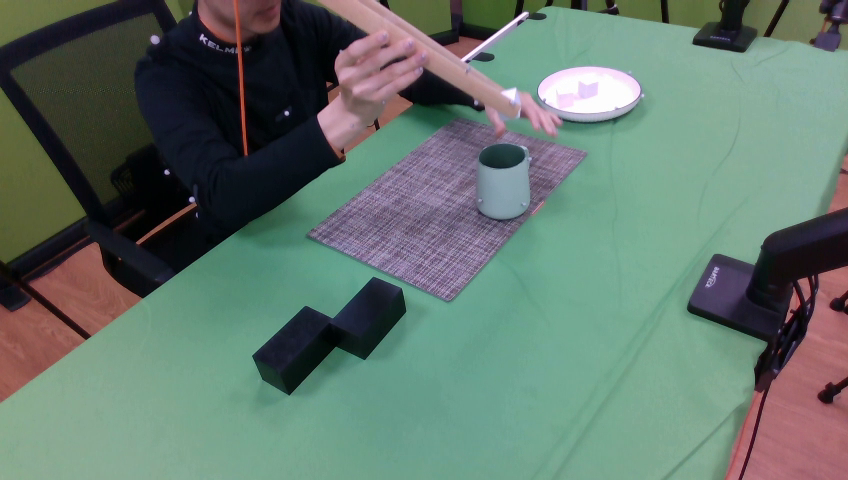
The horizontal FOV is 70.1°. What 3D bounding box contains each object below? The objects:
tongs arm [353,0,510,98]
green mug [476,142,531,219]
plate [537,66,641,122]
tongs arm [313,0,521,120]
[{"bbox_3d":[-0.020,-0.270,0.805,0.391,0.027,0.028,21,38,-37],"label":"tongs arm"},{"bbox_3d":[0.140,-0.106,1.002,0.092,0.105,0.125,21,49,30],"label":"green mug"},{"bbox_3d":[0.338,-0.299,1.255,0.209,0.038,0.208,-4,41,4],"label":"plate"},{"bbox_3d":[-0.012,-0.250,0.786,0.388,0.026,0.050,19,36,-40],"label":"tongs arm"}]
